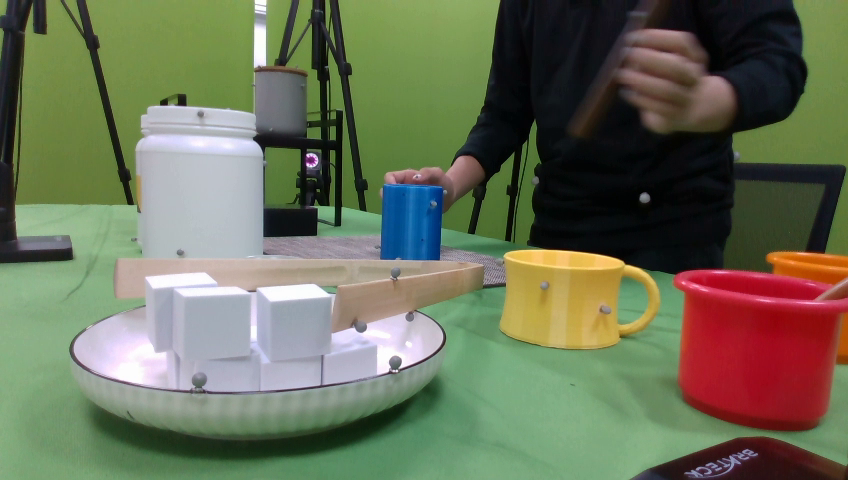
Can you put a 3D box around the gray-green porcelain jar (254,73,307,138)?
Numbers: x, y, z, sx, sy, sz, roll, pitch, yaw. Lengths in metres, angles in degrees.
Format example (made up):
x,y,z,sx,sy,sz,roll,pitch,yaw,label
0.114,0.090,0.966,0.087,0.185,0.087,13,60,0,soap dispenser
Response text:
x,y,z,sx,sy,sz,roll,pitch,yaw,label
-0.298,-0.277,1.259,0.106,0.126,0.106,3,8,0,gray-green porcelain jar

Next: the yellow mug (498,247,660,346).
x,y,z,sx,sy,sz,roll,pitch,yaw,label
0.130,0.045,0.508,0.131,0.064,0.100,4,7,6,yellow mug

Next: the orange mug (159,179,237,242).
x,y,z,sx,sy,sz,roll,pitch,yaw,label
-0.368,-0.051,0.991,0.127,0.101,0.083,-10,14,-41,orange mug

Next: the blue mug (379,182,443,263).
x,y,z,sx,sy,sz,roll,pitch,yaw,label
-0.020,-0.025,0.833,0.082,0.106,0.116,1,7,-6,blue mug

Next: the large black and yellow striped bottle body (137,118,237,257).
x,y,z,sx,sy,sz,roll,pitch,yaw,label
-0.330,-0.075,0.849,0.131,0.184,0.130,2,8,0,large black and yellow striped bottle body

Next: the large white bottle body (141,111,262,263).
x,y,z,sx,sy,sz,roll,pitch,yaw,label
-0.254,-0.053,0.697,0.131,0.184,0.130,2,7,0,large white bottle body

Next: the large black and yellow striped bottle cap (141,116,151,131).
x,y,z,sx,sy,sz,roll,pitch,yaw,label
-0.328,-0.158,0.837,0.115,0.019,0.115,2,6,0,large black and yellow striped bottle cap

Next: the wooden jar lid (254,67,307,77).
x,y,z,sx,sy,sz,roll,pitch,yaw,label
-0.296,-0.339,1.251,0.108,0.020,0.108,1,7,0,wooden jar lid

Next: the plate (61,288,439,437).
x,y,z,sx,sy,sz,roll,pitch,yaw,label
-0.095,0.069,0.362,0.208,0.039,0.207,3,7,0,plate

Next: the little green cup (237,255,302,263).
x,y,z,sx,sy,sz,roll,pitch,yaw,label
-0.150,0.038,0.590,0.061,0.038,0.061,3,6,0,little green cup

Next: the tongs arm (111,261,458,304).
x,y,z,sx,sy,sz,roll,pitch,yaw,label
-0.080,0.032,0.527,0.028,0.027,0.389,-3,-3,33,tongs arm

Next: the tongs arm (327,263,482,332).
x,y,z,sx,sy,sz,roll,pitch,yaw,label
-0.003,0.036,0.493,0.050,0.026,0.386,1,0,19,tongs arm

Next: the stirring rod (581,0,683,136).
x,y,z,sx,sy,sz,roll,pitch,yaw,label
0.203,-0.175,0.578,0.014,0.176,0.006,20,31,-15,stirring rod

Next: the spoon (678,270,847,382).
x,y,z,sx,sy,sz,roll,pitch,yaw,label
0.229,0.031,0.338,0.193,0.021,0.042,-44,-17,27,spoon

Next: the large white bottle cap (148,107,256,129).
x,y,z,sx,sy,sz,roll,pitch,yaw,label
-0.250,-0.137,0.686,0.115,0.018,0.115,3,8,0,large white bottle cap

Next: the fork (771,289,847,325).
x,y,z,sx,sy,sz,roll,pitch,yaw,label
0.336,0.018,0.443,0.028,0.018,0.207,-2,-35,-21,fork
